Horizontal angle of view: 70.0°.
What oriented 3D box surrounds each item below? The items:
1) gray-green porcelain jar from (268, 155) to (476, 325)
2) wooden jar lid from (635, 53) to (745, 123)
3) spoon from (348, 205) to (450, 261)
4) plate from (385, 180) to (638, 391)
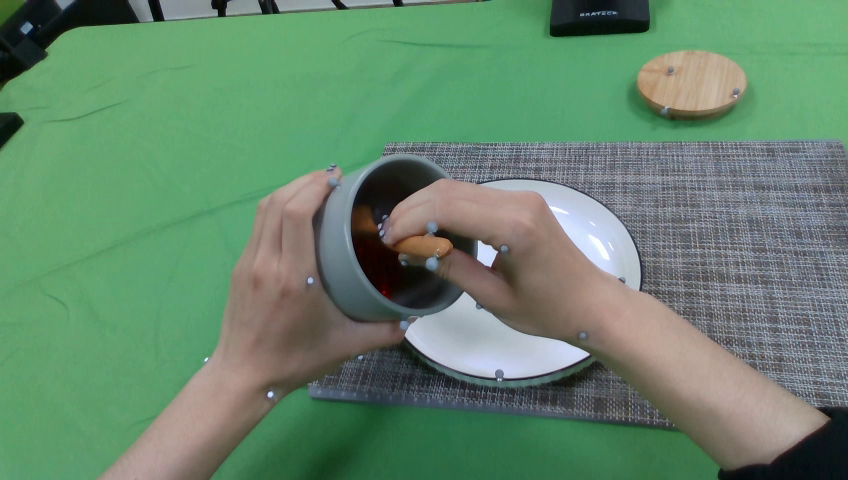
[{"bbox_3d":[-0.043,0.006,0.430,0.126,0.106,0.105,-14,35,51],"label":"gray-green porcelain jar"},{"bbox_3d":[0.281,-0.161,0.645,0.108,0.021,0.107,-6,49,7],"label":"wooden jar lid"},{"bbox_3d":[-0.021,-0.003,0.380,0.041,0.022,0.192,-39,20,-13],"label":"spoon"},{"bbox_3d":[0.067,0.035,0.503,0.207,0.039,0.205,-6,48,7],"label":"plate"}]
